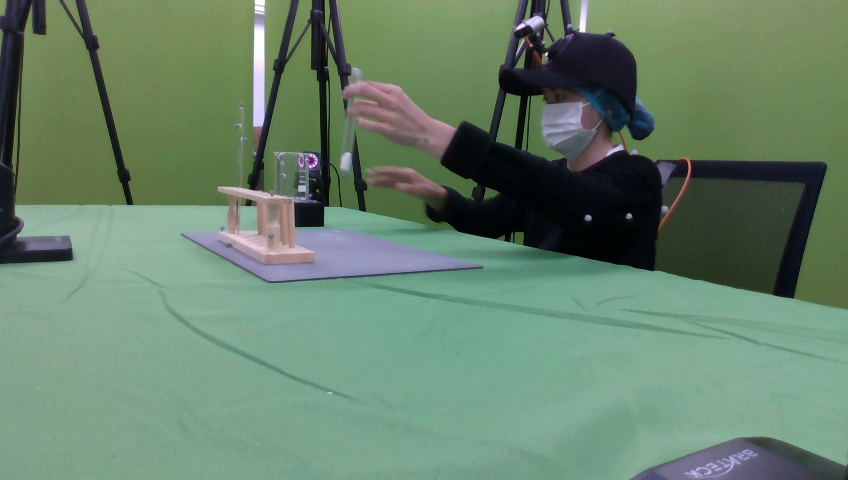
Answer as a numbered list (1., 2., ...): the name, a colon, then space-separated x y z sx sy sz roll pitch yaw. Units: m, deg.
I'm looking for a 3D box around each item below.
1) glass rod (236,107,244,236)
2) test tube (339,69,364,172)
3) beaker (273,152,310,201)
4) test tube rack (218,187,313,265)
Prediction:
1. glass rod: -0.282 -0.102 0.924 0.008 0.199 0.008 2 2 0
2. test tube: -0.106 -0.173 0.877 0.017 0.150 0.017 8 0 0
3. beaker: -0.277 -0.131 1.249 0.073 0.100 0.084 6 8 26
4. test tube rack: -0.235 -0.027 0.872 0.067 0.085 0.241 -2 8 -32
